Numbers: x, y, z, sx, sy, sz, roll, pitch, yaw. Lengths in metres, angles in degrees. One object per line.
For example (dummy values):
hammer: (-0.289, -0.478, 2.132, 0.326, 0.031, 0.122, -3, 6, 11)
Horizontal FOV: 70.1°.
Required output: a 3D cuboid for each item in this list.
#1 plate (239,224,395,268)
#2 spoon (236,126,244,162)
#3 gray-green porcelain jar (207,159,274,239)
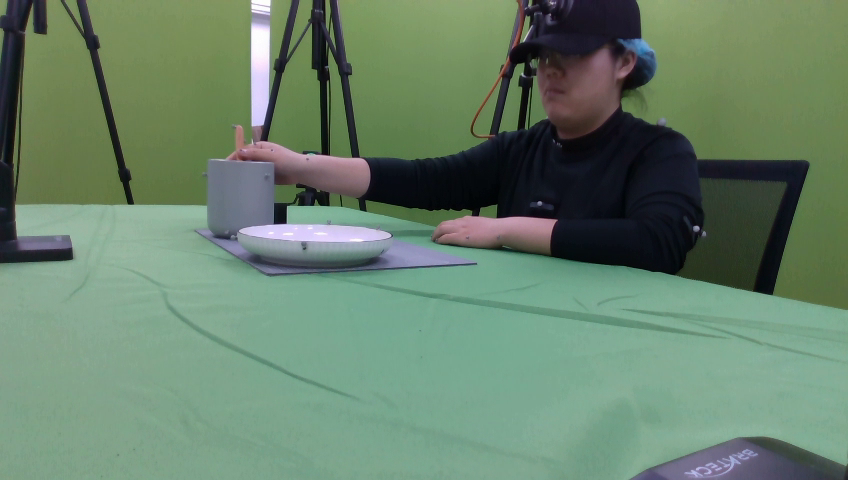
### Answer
plate: (-0.144, 0.007, 0.823, 0.208, 0.039, 0.207, 3, 7, 0)
spoon: (-0.312, -0.115, 1.031, 0.042, 0.193, 0.021, -2, -21, -12)
gray-green porcelain jar: (-0.304, -0.068, 1.003, 0.106, 0.126, 0.106, 3, 7, 0)
